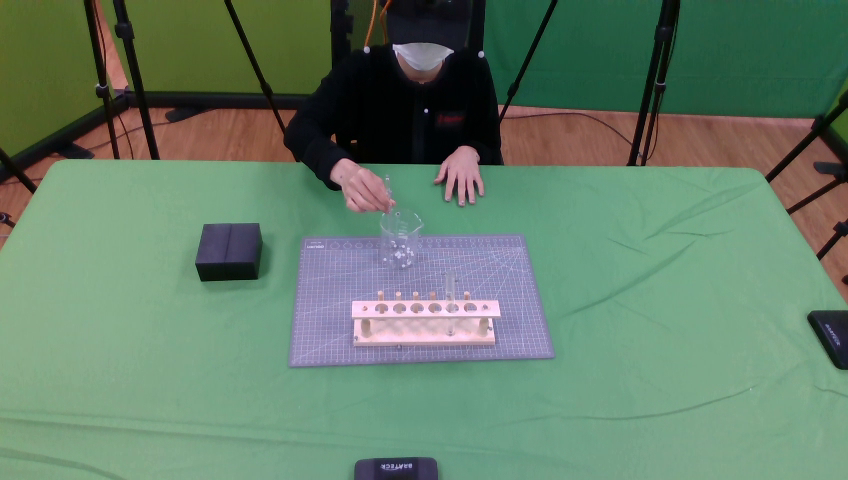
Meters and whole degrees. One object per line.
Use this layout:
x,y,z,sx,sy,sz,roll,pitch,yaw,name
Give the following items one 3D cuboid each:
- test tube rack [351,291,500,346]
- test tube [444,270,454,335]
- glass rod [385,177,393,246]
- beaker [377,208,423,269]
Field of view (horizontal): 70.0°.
0.000,0.129,1.026,0.242,0.085,0.066,0,46,-4,test tube rack
0.041,0.105,0.983,0.017,0.151,0.017,-1,44,1,test tube
-0.062,-0.046,1.094,0.008,0.201,0.008,0,54,0,glass rod
-0.046,0.000,1.138,0.084,0.101,0.073,3,46,-3,beaker
